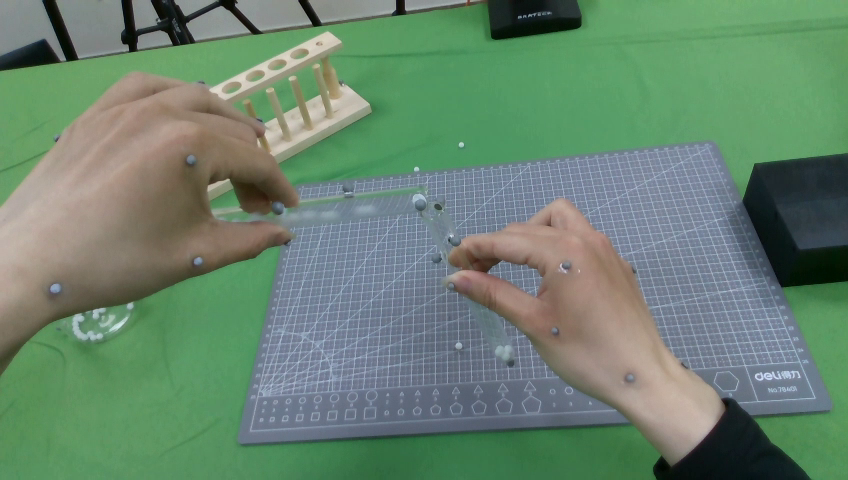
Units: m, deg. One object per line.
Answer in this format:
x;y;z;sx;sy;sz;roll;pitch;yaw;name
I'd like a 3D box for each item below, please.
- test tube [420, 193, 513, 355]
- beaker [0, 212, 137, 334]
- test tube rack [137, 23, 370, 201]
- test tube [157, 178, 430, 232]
0.031;0.029;0.396;0.017;0.152;0.017;-16;40;14;test tube
-0.321;0.032;0.562;0.073;0.101;0.083;17;55;23;beaker
-0.188;-0.151;0.699;0.242;0.086;0.066;-33;52;-16;test tube rack
-0.071;-0.020;0.338;0.151;0.017;0.017;-7;49;-7;test tube
